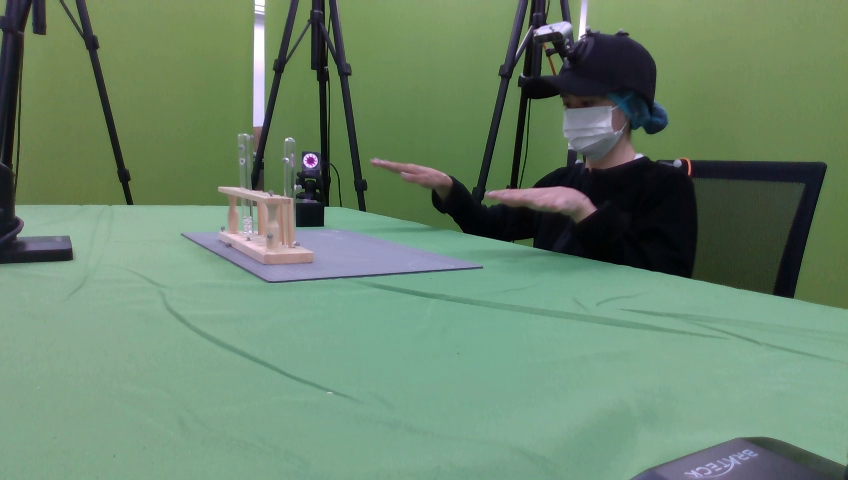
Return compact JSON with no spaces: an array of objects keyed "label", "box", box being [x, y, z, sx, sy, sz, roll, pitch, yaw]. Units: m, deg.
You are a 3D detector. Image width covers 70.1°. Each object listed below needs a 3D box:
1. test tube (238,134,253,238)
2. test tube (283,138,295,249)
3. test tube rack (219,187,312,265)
[{"label":"test tube","box":[-0.258,-0.078,0.873,0.017,0.150,0.017,-1,5,0]},{"label":"test tube","box":[-0.182,-0.062,0.815,0.017,0.150,0.017,2,8,0]},{"label":"test tube rack","box":[-0.235,-0.027,0.872,0.067,0.085,0.241,-2,8,-31]}]
